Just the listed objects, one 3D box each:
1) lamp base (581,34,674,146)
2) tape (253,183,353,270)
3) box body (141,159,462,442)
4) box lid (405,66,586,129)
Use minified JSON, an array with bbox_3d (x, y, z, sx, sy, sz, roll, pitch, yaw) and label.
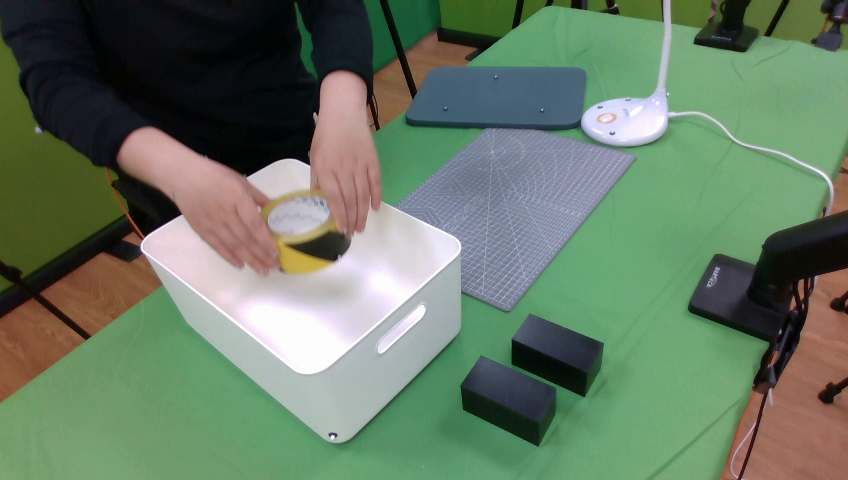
[{"bbox_3d":[0.392,-0.291,1.129,0.180,0.181,0.159,-11,41,-8],"label":"lamp base"},{"bbox_3d":[-0.148,-0.018,0.752,0.117,0.053,0.116,-4,41,4],"label":"tape"},{"bbox_3d":[-0.152,0.063,0.809,0.361,0.161,0.255,27,51,33],"label":"box body"},{"bbox_3d":[0.163,-0.317,1.322,0.370,0.015,0.263,5,42,14],"label":"box lid"}]
